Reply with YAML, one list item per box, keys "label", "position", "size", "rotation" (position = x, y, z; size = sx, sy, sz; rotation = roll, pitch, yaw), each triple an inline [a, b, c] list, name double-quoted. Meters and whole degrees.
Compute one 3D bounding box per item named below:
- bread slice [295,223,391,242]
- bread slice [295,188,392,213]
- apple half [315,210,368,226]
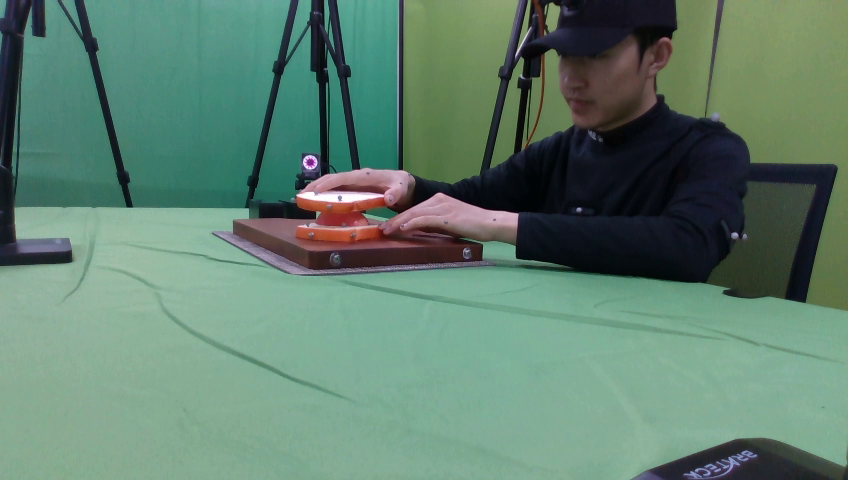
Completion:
- label: "bread slice"
  position: [-0.122, -0.014, 0.889]
  size: [0.104, 0.019, 0.132]
  rotation: [3, 7, 23]
- label: "bread slice"
  position: [-0.121, -0.059, 0.886]
  size: [0.106, 0.018, 0.135]
  rotation: [6, 13, 20]
- label: "apple half"
  position: [-0.120, -0.037, 0.901]
  size: [0.081, 0.033, 0.081]
  rotation: [4, 5, 0]
